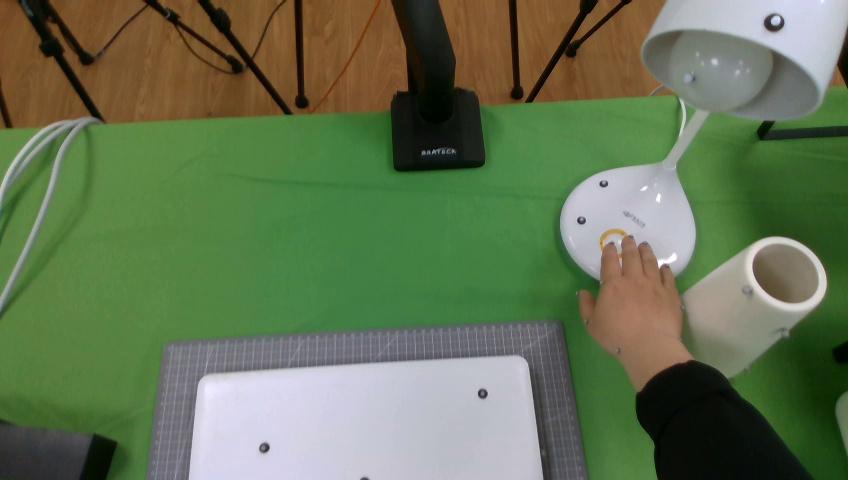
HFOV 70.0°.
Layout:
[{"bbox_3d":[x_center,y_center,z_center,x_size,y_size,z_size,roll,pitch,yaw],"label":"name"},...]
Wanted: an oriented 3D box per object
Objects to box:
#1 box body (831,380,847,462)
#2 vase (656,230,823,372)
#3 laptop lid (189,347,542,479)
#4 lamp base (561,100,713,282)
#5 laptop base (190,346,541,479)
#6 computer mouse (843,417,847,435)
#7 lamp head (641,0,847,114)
[{"bbox_3d":[0.555,0.277,0.520,0.254,0.161,0.361,-2,65,0],"label":"box body"},{"bbox_3d":[0.303,0.063,0.600,0.098,0.201,0.097,-1,63,2],"label":"vase"},{"bbox_3d":[-0.059,0.229,0.606,0.357,0.013,0.240,-1,67,-1],"label":"laptop lid"},{"bbox_3d":[0.252,-0.067,0.671,0.160,0.181,0.178,29,65,13],"label":"lamp base"},{"bbox_3d":[-0.059,0.231,0.617,0.354,0.023,0.233,-3,68,-1],"label":"laptop base"},{"bbox_3d":[0.476,0.226,0.605,0.063,0.041,0.116,-8,57,1],"label":"computer mouse"},{"bbox_3d":[0.213,-0.154,0.382,0.112,0.113,0.122,26,85,12],"label":"lamp head"}]
